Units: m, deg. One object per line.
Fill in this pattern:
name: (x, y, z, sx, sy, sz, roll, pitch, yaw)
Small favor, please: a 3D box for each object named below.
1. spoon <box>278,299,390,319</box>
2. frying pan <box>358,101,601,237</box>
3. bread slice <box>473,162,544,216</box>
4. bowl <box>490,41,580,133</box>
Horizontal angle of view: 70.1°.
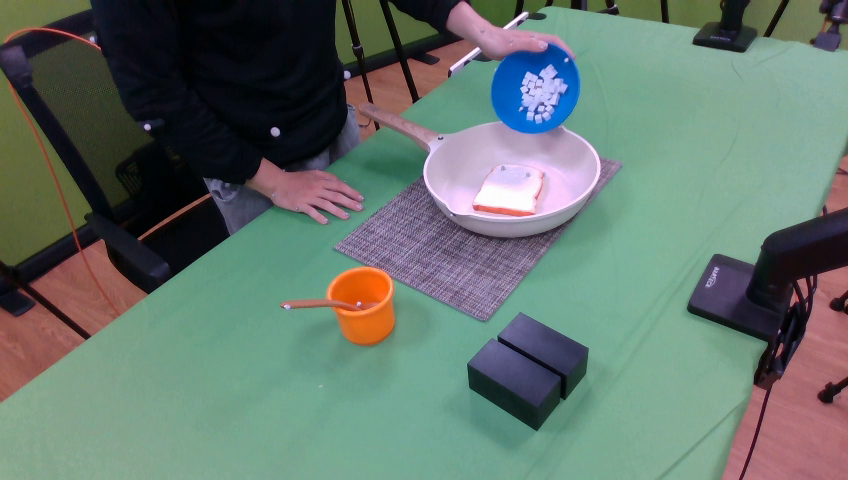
spoon: (-0.113, 0.086, 0.787, 0.041, 0.021, 0.195, 29, 8, 36)
frying pan: (0.067, -0.153, 1.067, 0.484, 0.103, 0.308, 32, 52, 26)
bread slice: (0.150, -0.088, 1.042, 0.106, 0.018, 0.134, 7, 45, 15)
bowl: (0.196, -0.252, 1.029, 0.150, 0.151, 0.077, 13, 7, 22)
